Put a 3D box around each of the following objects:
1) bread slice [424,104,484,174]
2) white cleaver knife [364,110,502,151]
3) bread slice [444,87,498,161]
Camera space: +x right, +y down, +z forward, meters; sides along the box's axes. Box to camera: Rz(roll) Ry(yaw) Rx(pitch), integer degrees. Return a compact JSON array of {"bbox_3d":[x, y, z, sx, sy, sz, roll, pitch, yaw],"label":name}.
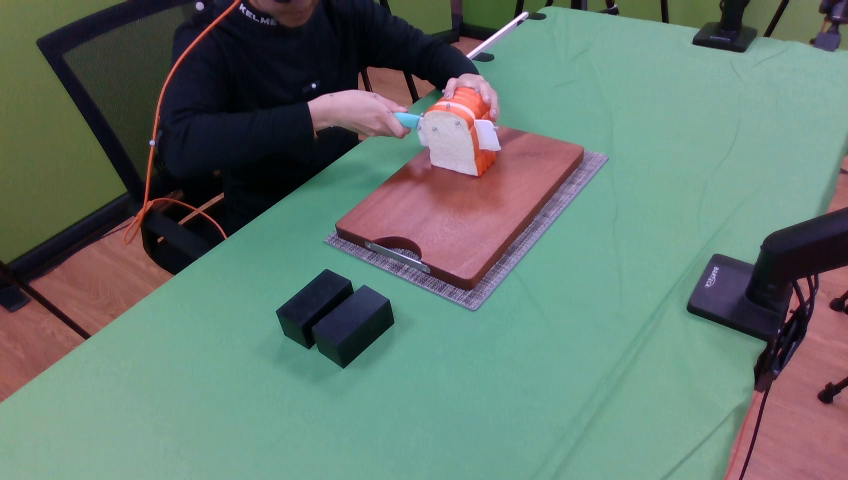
[{"bbox_3d":[0.046,-0.172,1.037,0.104,0.132,0.019,15,51,28],"label":"bread slice"},{"bbox_3d":[0.006,-0.191,1.062,0.284,0.066,0.021,13,39,34],"label":"white cleaver knife"},{"bbox_3d":[0.080,-0.205,1.068,0.106,0.135,0.018,22,50,27],"label":"bread slice"}]
